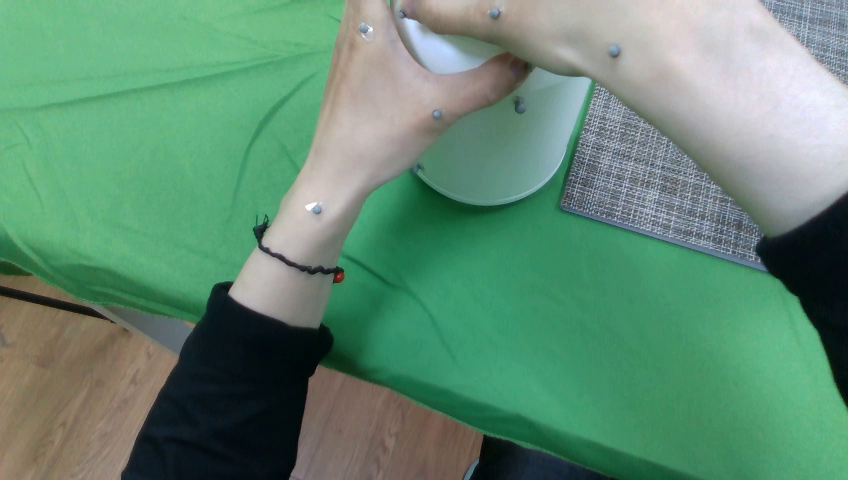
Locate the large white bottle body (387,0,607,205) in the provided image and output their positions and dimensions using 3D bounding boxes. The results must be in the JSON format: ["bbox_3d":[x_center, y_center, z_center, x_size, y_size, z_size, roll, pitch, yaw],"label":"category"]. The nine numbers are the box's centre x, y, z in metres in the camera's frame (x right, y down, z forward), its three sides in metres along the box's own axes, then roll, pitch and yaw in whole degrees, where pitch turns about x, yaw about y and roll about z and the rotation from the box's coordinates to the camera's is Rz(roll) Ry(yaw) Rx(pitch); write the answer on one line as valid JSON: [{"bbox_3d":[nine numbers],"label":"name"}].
[{"bbox_3d":[0.043,-0.119,0.399,0.130,0.186,0.129,0,66,0],"label":"large white bottle body"}]

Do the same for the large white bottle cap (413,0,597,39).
[{"bbox_3d":[0.042,-0.155,0.322,0.115,0.018,0.114,0,65,0],"label":"large white bottle cap"}]

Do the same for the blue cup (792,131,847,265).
[{"bbox_3d":[0.299,-0.030,0.400,0.092,0.101,0.092,-1,64,1],"label":"blue cup"}]
